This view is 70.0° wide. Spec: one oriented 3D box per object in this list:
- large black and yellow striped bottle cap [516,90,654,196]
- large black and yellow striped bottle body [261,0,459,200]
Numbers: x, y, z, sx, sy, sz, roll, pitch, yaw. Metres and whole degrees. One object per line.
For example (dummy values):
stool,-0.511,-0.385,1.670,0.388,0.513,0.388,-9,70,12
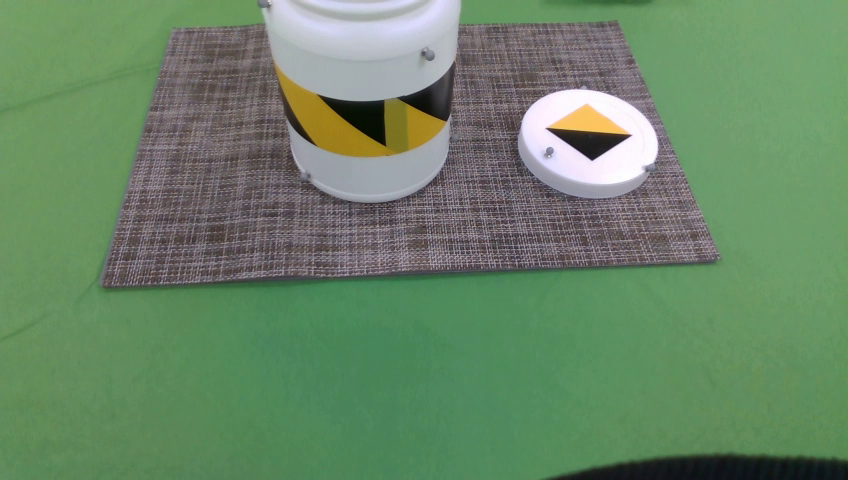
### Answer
large black and yellow striped bottle cap,0.136,-0.085,0.514,0.115,0.019,0.114,2,53,-2
large black and yellow striped bottle body,-0.043,-0.133,0.435,0.131,0.185,0.129,1,54,-2
